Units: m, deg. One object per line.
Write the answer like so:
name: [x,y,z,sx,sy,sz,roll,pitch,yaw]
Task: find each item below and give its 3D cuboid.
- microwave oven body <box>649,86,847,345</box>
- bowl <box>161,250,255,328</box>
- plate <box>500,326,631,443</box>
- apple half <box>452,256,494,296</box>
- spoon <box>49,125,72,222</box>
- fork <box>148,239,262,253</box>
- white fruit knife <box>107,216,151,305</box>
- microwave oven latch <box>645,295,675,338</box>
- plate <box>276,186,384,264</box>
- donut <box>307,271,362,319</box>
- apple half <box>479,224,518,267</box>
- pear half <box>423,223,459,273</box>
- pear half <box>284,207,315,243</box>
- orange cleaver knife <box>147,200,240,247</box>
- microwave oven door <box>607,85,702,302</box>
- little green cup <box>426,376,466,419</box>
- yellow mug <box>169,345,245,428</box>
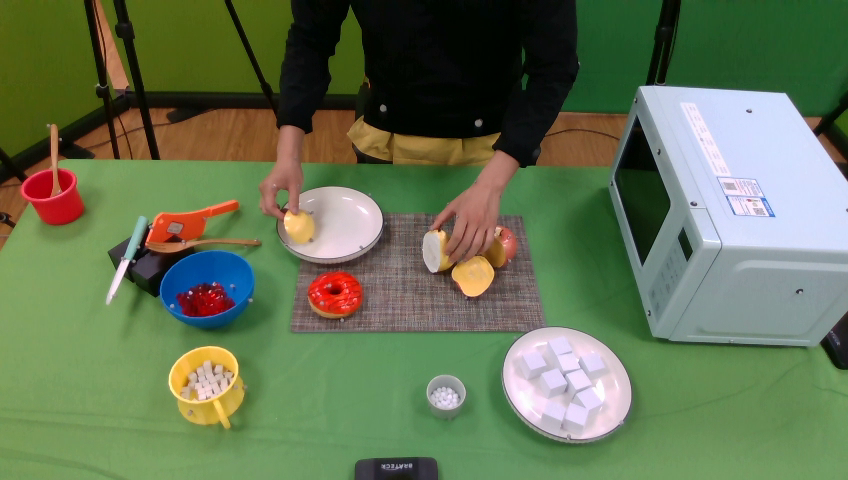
microwave oven body: [0.568,-0.053,1.118,0.326,0.261,0.439,2,45,-1]
bowl: [-0.362,0.097,1.040,0.151,0.077,0.150,2,45,-2]
plate: [0.224,0.234,0.978,0.208,0.039,0.206,2,46,-2]
apple half: [0.095,0.070,1.120,0.081,0.033,0.081,-7,62,14]
spoon: [-0.717,-0.131,1.189,0.042,0.021,0.193,-3,90,-7]
fork: [-0.398,0.008,1.117,0.208,0.019,0.028,-5,34,-37]
white fruit knife: [-0.518,0.032,1.066,0.027,0.016,0.206,-18,45,19]
microwave oven latch: [0.412,0.134,1.061,0.030,0.029,0.078,3,45,0]
plate: [-0.184,-0.027,1.194,0.209,0.038,0.208,2,46,-2]
donut: [-0.157,0.097,1.073,0.099,0.048,0.098,4,45,-4]
apple half: [0.148,0.008,1.160,0.053,0.075,0.080,-24,48,-29]
pear half: [0.037,0.006,1.119,0.056,0.110,0.076,-20,54,-25]
pear half: [-0.231,-0.034,1.164,0.031,0.071,0.087,-14,28,28]
orange cleaver knife: [-0.435,-0.033,1.157,0.012,0.077,0.211,31,26,18]
microwave oven door: [0.423,-0.094,1.140,0.039,0.245,0.353,2,46,-1]
little green cup: [0.033,0.248,0.950,0.061,0.039,0.061,2,46,-2]
yellow mug: [-0.322,0.230,0.922,0.100,0.064,0.130,-24,53,-25]
